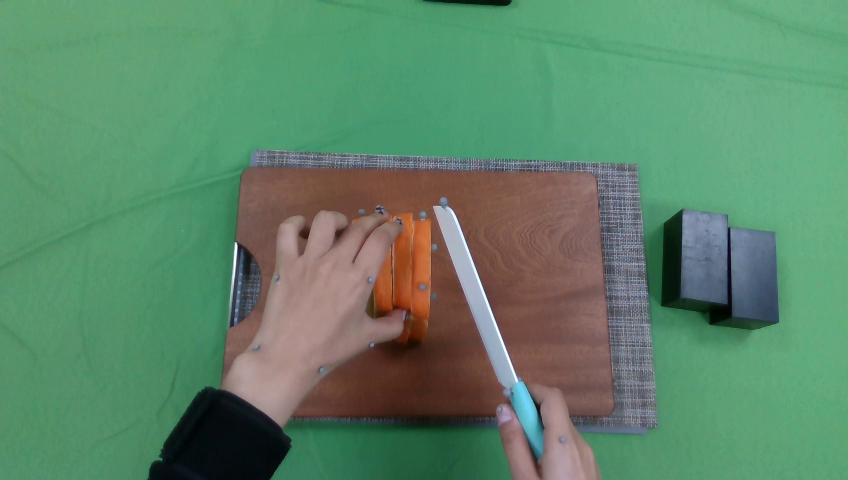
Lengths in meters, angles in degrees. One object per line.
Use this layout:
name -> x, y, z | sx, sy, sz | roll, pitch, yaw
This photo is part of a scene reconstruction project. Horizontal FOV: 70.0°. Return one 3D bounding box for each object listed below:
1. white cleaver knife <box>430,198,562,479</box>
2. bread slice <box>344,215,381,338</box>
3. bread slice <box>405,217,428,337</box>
white cleaver knife -> 0.063, 0.098, 0.493 | 0.021, 0.065, 0.287 | -20, 95, -9
bread slice -> -0.058, 0.032, 0.583 | 0.019, 0.132, 0.104 | 0, 72, 3
bread slice -> -0.008, 0.037, 0.583 | 0.018, 0.134, 0.106 | 1, 78, -3
